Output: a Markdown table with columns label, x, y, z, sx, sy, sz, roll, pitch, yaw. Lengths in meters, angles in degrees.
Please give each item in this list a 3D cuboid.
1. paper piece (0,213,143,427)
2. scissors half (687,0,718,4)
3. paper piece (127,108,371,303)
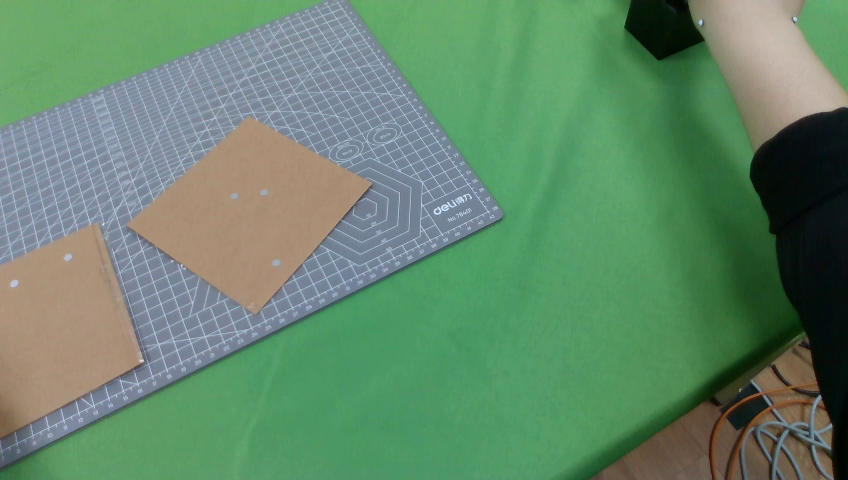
| label | x | y | z | sx | sy | sz | roll | pitch | yaw |
| --- | --- | --- | --- | --- | --- | --- | --- | --- | --- |
| paper piece | -0.278 | 0.057 | 0.423 | 0.138 | 0.009 | 0.134 | -28 | 58 | -11 |
| scissors half | 0.196 | -0.258 | 0.522 | 0.040 | 0.013 | 0.173 | -21 | 60 | -4 |
| paper piece | -0.134 | -0.035 | 0.468 | 0.135 | 0.004 | 0.135 | 31 | 66 | 19 |
